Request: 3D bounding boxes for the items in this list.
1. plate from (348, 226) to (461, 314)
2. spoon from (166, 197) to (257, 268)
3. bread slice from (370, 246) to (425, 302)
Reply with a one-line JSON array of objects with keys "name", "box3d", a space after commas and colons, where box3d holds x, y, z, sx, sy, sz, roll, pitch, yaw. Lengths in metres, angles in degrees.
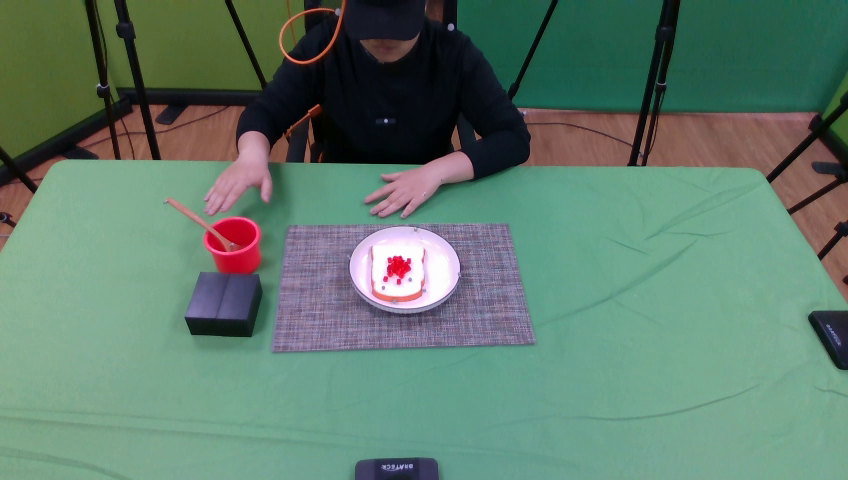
[{"name": "plate", "box3d": [-0.035, 0.058, 1.123, 0.209, 0.038, 0.208, 2, 46, -2]}, {"name": "spoon", "box3d": [-0.383, -0.014, 1.100, 0.194, 0.021, 0.041, 45, 46, -22]}, {"name": "bread slice", "box3d": [-0.048, 0.060, 1.124, 0.105, 0.019, 0.130, 0, 45, -3]}]
